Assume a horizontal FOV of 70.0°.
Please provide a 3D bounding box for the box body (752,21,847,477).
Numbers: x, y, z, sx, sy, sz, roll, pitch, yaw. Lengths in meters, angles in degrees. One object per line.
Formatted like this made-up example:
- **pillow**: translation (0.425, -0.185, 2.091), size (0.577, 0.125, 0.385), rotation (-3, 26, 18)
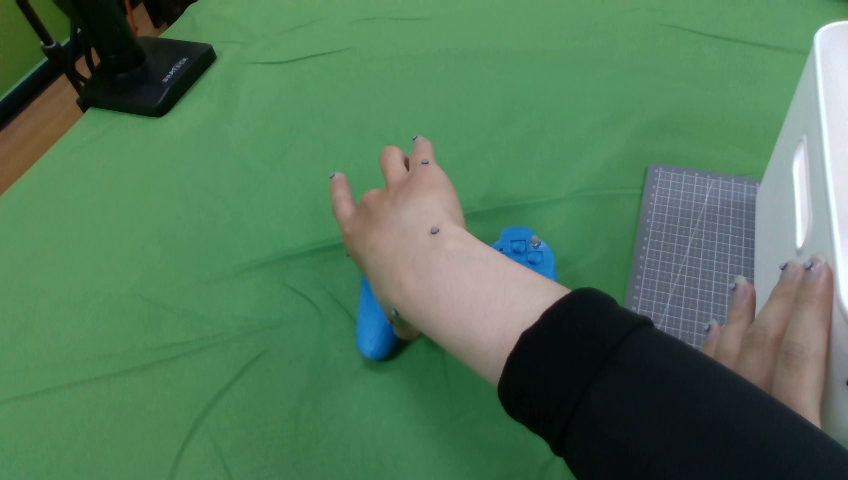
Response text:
- **box body**: translation (0.394, 0.030, 0.341), size (0.363, 0.162, 0.252), rotation (11, 53, 15)

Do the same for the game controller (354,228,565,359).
- **game controller**: translation (0.025, 0.036, 0.452), size (0.155, 0.052, 0.096), rotation (-2, 53, 4)
